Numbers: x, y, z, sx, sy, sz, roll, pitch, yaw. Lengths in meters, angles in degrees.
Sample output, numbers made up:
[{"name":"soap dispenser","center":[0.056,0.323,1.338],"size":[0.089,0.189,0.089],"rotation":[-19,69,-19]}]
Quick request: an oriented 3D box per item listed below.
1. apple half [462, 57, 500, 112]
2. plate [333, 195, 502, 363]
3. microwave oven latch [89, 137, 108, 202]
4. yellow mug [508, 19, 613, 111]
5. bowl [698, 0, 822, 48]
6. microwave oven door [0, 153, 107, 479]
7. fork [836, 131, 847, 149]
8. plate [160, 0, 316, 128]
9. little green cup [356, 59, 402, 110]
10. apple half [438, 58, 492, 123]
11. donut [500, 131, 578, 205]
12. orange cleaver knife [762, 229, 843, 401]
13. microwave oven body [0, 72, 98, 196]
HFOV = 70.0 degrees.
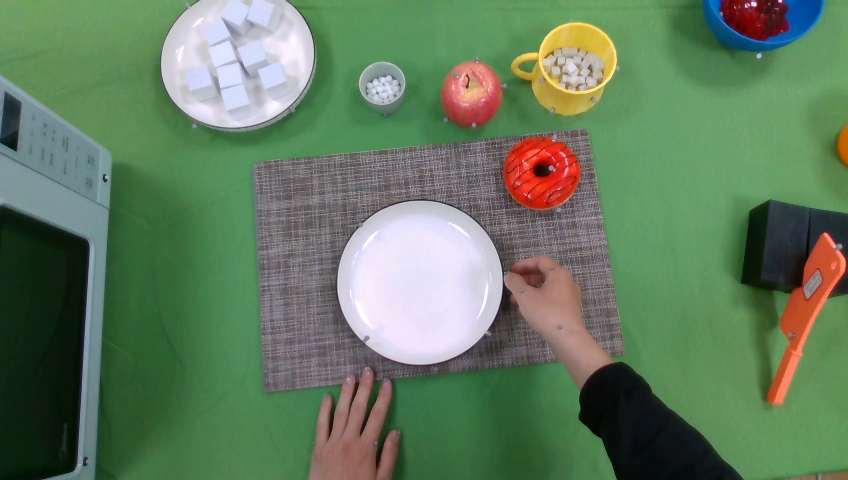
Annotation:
[{"name":"apple half","center":[0.079,-0.207,0.792],"size":[0.033,0.081,0.081],"rotation":[-33,79,-1]},{"name":"plate","center":[-0.007,0.048,0.755],"size":[0.209,0.038,0.208],"rotation":[0,79,1]},{"name":"microwave oven latch","center":[-0.423,-0.089,0.773],"size":[0.030,0.029,0.079],"rotation":[-2,79,0]},{"name":"yellow mug","center":[0.176,-0.230,0.799],"size":[0.131,0.064,0.099],"rotation":[4,78,3]},{"name":"bowl","center":[0.431,-0.315,0.807],"size":[0.151,0.077,0.150],"rotation":[0,79,1]},{"name":"microwave oven door","center":[-0.416,0.103,0.631],"size":[0.039,0.245,0.354],"rotation":[-3,78,0]},{"name":"fork","center":[0.623,-0.140,0.732],"size":[0.206,0.019,0.028],"rotation":[-8,71,44]},{"name":"plate","center":[-0.248,-0.245,0.822],"size":[0.208,0.039,0.206],"rotation":[0,78,1]},{"name":"little green cup","center":[-0.058,-0.206,0.812],"size":[0.061,0.039,0.061],"rotation":[0,78,1]},{"name":"apple half","center":[0.046,-0.186,0.789],"size":[0.053,0.075,0.080],"rotation":[-33,83,-1]},{"name":"donut","center":[0.147,-0.093,0.779],"size":[0.099,0.048,0.098],"rotation":[0,79,3]},{"name":"orange cleaver knife","center":[0.441,0.091,0.719],"size":[0.012,0.077,0.212],"rotation":[13,111,6]},{"name":"microwave oven body","center":[-0.564,0.071,0.644],"size":[0.326,0.261,0.439],"rotation":[-3,79,0]}]
